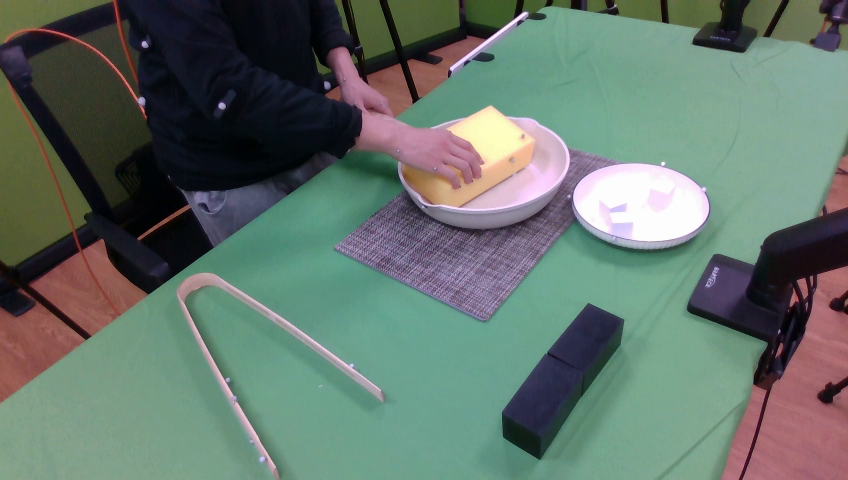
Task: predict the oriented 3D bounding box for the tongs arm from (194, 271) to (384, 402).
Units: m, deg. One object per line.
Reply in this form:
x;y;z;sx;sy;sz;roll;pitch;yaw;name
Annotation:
-0.199;0.125;0.846;0.384;0.028;0.028;25;53;32;tongs arm

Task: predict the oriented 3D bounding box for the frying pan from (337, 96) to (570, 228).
0.023;-0.167;1.090;0.484;0.103;0.308;32;52;26;frying pan

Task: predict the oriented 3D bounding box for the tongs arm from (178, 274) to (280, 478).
-0.260;0.161;0.806;0.051;0.026;0.381;-29;45;-25;tongs arm

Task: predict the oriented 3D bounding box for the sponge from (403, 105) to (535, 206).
0.079;-0.145;1.052;0.207;0.061;0.117;-32;60;-27;sponge

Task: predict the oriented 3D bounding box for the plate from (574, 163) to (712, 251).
0.344;-0.050;0.966;0.207;0.039;0.206;-4;40;4;plate
